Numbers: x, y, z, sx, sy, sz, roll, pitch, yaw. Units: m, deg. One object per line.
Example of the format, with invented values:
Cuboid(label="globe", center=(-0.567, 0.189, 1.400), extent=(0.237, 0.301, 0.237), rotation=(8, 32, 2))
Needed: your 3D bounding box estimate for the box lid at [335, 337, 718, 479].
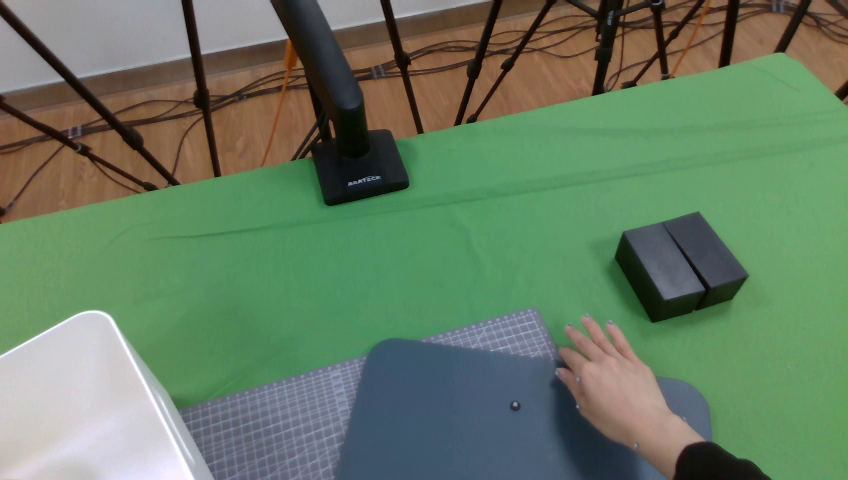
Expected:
Cuboid(label="box lid", center=(0.101, 0.234, 0.594), extent=(0.371, 0.015, 0.261), rotation=(7, 54, 7))

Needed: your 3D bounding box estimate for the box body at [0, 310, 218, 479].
Cuboid(label="box body", center=(-0.353, 0.267, 0.486), extent=(0.364, 0.162, 0.251), rotation=(-32, 59, -20))
